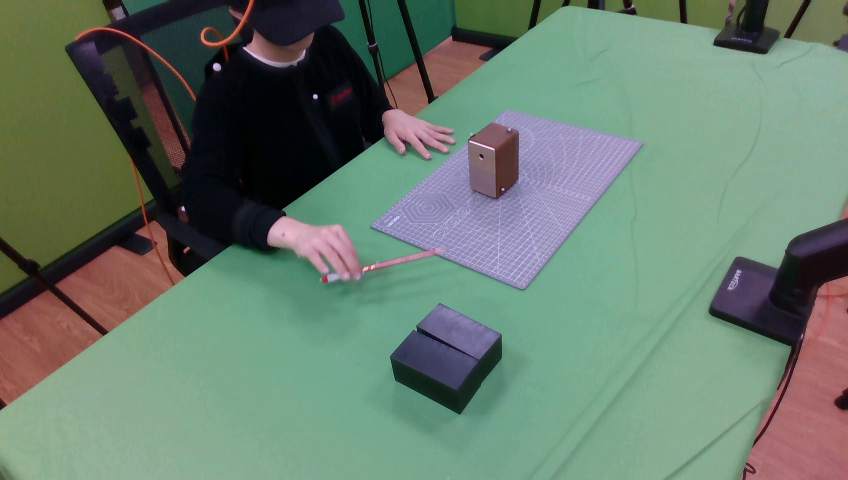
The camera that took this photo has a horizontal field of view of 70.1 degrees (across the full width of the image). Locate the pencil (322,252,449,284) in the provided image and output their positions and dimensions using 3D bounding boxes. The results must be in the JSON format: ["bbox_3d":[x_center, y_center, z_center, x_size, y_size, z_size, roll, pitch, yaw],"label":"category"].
[{"bbox_3d":[-0.056,0.040,0.902,0.194,0.012,0.012,-13,40,-3],"label":"pencil"}]

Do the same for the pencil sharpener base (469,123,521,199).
[{"bbox_3d":[0.126,-0.138,1.050,0.061,0.107,0.077,24,50,33],"label":"pencil sharpener base"}]

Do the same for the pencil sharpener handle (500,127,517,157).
[{"bbox_3d":[0.154,-0.178,1.072,0.036,0.068,0.031,36,55,20],"label":"pencil sharpener handle"}]
